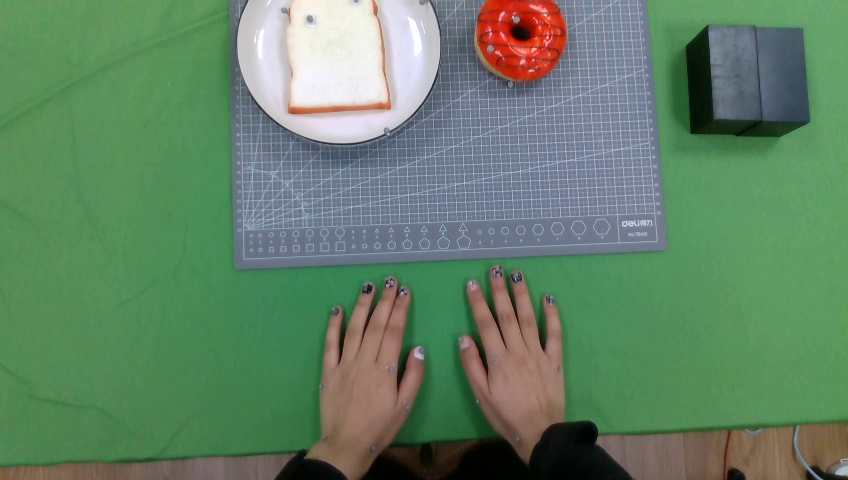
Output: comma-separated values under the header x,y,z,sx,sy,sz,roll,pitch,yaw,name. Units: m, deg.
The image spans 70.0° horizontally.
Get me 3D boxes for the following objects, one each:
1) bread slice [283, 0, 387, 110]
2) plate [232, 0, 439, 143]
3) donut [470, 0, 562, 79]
x,y,z,sx,sy,sz,roll,pitch,yaw,name
-0.097,-0.202,0.628,0.105,0.019,0.131,-6,85,-4,bread slice
-0.089,-0.198,0.626,0.209,0.038,0.208,0,85,-3,plate
0.096,-0.216,0.633,0.099,0.048,0.099,0,85,-5,donut
